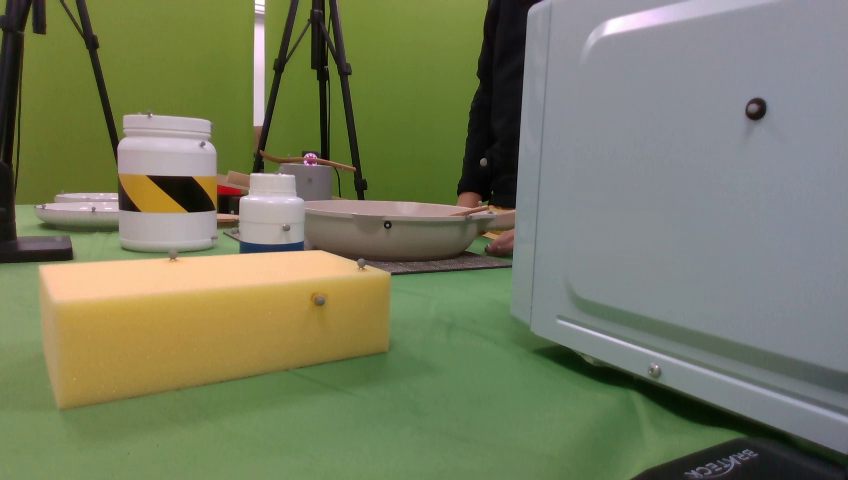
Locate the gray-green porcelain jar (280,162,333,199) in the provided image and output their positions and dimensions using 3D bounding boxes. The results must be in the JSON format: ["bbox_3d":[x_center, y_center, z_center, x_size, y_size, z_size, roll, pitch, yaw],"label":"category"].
[{"bbox_3d":[-0.238,-0.092,1.221,0.106,0.126,0.106,2,7,0],"label":"gray-green porcelain jar"}]

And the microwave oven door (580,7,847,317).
[{"bbox_3d":[0.295,-0.067,0.570,0.358,0.243,0.039,-3,9,-31],"label":"microwave oven door"}]

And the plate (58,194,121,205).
[{"bbox_3d":[-0.671,-0.074,1.310,0.209,0.038,0.209,2,8,0],"label":"plate"}]

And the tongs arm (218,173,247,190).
[{"bbox_3d":[-0.315,-0.110,1.448,0.389,0.027,0.028,11,-7,-26],"label":"tongs arm"}]

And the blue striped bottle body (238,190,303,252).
[{"bbox_3d":[-0.153,-0.007,0.606,0.063,0.120,0.063,2,8,0],"label":"blue striped bottle body"}]

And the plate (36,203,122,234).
[{"bbox_3d":[-0.571,-0.040,1.083,0.208,0.039,0.207,2,8,0],"label":"plate"}]

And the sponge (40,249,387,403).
[{"bbox_3d":[-0.142,0.047,0.420,0.208,0.061,0.117,-3,8,-36],"label":"sponge"}]

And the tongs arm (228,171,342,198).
[{"bbox_3d":[-0.267,-0.103,1.378,0.387,0.026,0.050,11,-3,-40],"label":"tongs arm"}]

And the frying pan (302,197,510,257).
[{"bbox_3d":[0.050,-0.035,0.915,0.487,0.102,0.307,-5,7,10],"label":"frying pan"}]

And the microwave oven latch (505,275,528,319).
[{"bbox_3d":[0.100,0.042,0.471,0.079,0.029,0.030,-1,7,-28],"label":"microwave oven latch"}]

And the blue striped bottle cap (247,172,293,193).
[{"bbox_3d":[-0.152,-0.057,0.598,0.044,0.020,0.044,3,6,0],"label":"blue striped bottle cap"}]

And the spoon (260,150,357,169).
[{"bbox_3d":[-0.231,-0.162,1.221,0.194,0.021,0.041,3,3,-16],"label":"spoon"}]

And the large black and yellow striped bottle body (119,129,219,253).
[{"bbox_3d":[-0.367,-0.080,0.876,0.131,0.184,0.130,2,7,0],"label":"large black and yellow striped bottle body"}]

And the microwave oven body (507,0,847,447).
[{"bbox_3d":[0.331,-0.042,0.425,0.444,0.260,0.324,-2,8,-31],"label":"microwave oven body"}]

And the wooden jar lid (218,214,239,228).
[{"bbox_3d":[-0.404,-0.037,1.169,0.108,0.020,0.108,3,7,0],"label":"wooden jar lid"}]

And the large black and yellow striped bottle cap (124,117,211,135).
[{"bbox_3d":[-0.366,-0.163,0.866,0.115,0.019,0.115,3,7,0],"label":"large black and yellow striped bottle cap"}]

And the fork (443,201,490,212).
[{"bbox_3d":[-0.006,-0.020,0.852,0.207,0.018,0.028,-22,-4,10],"label":"fork"}]
